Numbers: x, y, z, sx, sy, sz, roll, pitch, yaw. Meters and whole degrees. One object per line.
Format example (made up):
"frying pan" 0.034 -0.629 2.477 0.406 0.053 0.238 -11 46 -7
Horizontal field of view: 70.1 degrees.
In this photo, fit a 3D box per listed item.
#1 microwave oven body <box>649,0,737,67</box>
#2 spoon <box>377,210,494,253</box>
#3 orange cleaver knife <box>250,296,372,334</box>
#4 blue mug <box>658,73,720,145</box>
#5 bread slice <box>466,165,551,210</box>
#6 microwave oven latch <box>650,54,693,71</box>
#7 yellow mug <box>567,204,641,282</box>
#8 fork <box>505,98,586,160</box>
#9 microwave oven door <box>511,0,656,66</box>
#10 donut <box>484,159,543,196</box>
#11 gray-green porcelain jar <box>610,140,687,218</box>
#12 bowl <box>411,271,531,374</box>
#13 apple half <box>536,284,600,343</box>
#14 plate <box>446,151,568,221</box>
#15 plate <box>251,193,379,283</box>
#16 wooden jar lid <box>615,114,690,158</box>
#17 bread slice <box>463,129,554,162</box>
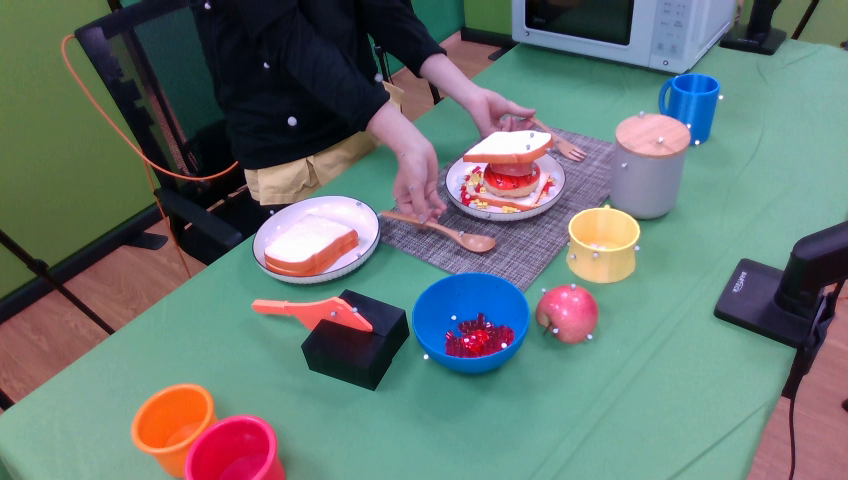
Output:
"microwave oven body" 0.475 -0.602 1.411 0.438 0.261 0.327 23 50 32
"spoon" 0.017 -0.019 0.956 0.193 0.021 0.041 20 48 5
"orange cleaver knife" -0.158 0.103 0.828 0.210 0.078 0.012 -4 43 39
"blue mug" 0.483 -0.250 1.127 0.082 0.106 0.115 -26 44 -19
"bread slice" 0.141 -0.094 1.041 0.133 0.018 0.107 8 42 20
"microwave oven latch" 0.531 -0.386 1.301 0.078 0.029 0.030 26 51 33
"yellow mug" 0.268 -0.005 0.905 0.099 0.064 0.130 6 42 15
"fork" 0.227 -0.215 1.153 0.028 0.019 0.206 -41 66 -7
"microwave oven door" 0.351 -0.539 1.349 0.353 0.245 0.039 24 50 31
"donut" 0.150 -0.112 1.019 0.099 0.048 0.098 -4 40 4
"gray-green porcelain jar" 0.354 -0.106 0.964 0.106 0.127 0.105 -4 41 4
"bowl" 0.062 0.119 0.780 0.151 0.077 0.150 -4 40 4
"apple half" 0.196 0.091 0.815 0.075 0.053 0.080 -22 42 -20
"plate" 0.142 -0.097 1.045 0.207 0.039 0.206 -4 41 4
"plate" -0.174 -0.001 0.984 0.209 0.038 0.208 -4 41 4
"wooden jar lid" 0.347 -0.155 0.923 0.108 0.021 0.108 -3 44 4
"bread slice" 0.143 -0.154 0.974 0.130 0.019 0.105 9 35 38
